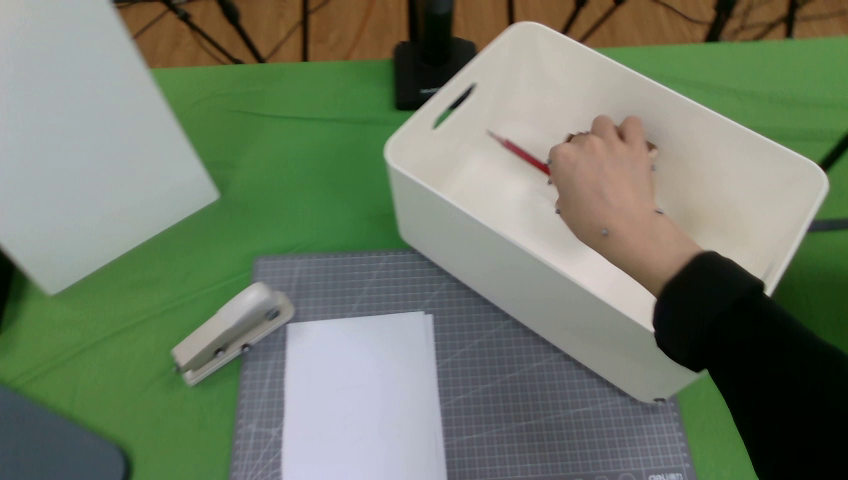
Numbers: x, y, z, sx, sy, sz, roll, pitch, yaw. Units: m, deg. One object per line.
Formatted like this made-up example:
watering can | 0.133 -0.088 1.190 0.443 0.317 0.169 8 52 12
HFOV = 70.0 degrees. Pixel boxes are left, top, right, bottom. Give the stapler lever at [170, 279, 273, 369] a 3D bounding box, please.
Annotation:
stapler lever | -0.210 0.085 0.626 0.118 0.040 0.026 -36 62 -15

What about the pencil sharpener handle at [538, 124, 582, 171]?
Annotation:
pencil sharpener handle | 0.153 -0.110 0.693 0.030 0.068 0.036 32 50 18

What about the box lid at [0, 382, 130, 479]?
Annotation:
box lid | -0.471 0.311 0.539 0.262 0.015 0.369 20 63 11

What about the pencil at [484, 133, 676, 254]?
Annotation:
pencil | 0.134 -0.044 0.533 0.193 0.012 0.012 34 66 9

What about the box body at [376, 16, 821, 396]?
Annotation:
box body | 0.164 -0.040 0.643 0.362 0.161 0.253 33 66 17

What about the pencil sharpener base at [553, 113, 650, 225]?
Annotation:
pencil sharpener base | 0.197 -0.080 0.691 0.076 0.108 0.061 32 64 18

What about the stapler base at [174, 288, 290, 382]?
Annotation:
stapler base | -0.207 0.096 0.648 0.130 0.024 0.041 -36 62 -14

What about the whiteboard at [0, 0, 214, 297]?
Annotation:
whiteboard | -0.413 -0.132 0.652 0.217 0.309 0.142 -35 47 -17
